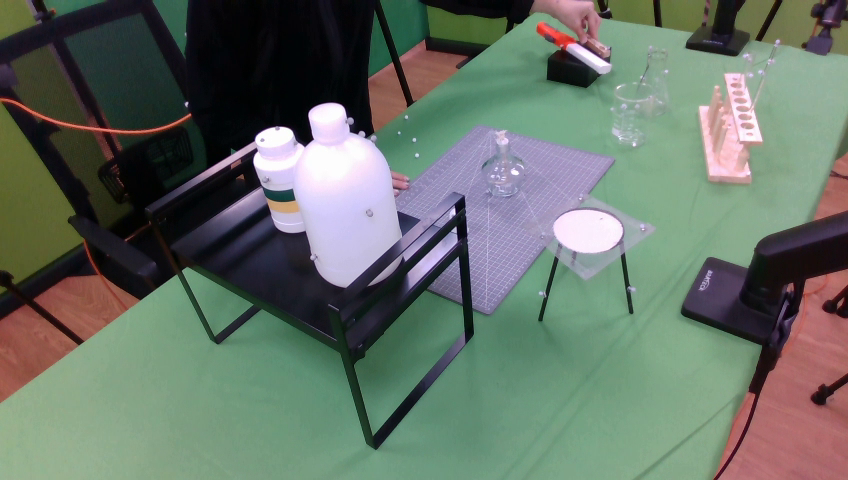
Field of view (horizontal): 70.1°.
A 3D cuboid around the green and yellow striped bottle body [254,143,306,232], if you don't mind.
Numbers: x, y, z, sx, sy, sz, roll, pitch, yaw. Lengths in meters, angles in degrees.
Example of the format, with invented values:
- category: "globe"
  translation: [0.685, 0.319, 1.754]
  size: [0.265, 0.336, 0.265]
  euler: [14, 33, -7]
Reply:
- category: "green and yellow striped bottle body"
  translation: [-0.165, -0.073, 0.732]
  size: [0.063, 0.120, 0.063]
  euler: [-4, 41, 4]

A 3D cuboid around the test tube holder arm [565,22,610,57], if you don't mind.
- category: "test tube holder arm"
  translation: [0.370, -0.457, 1.373]
  size: [0.013, 0.015, 0.177]
  euler: [-17, 44, -11]

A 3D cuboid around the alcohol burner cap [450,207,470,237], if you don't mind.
- category: "alcohol burner cap"
  translation: [0.057, -0.032, 0.987]
  size: [0.034, 0.048, 0.033]
  euler: [-5, 41, 5]

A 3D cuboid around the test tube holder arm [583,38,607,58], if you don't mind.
- category: "test tube holder arm"
  translation: [0.379, -0.428, 1.341]
  size: [0.010, 0.015, 0.087]
  euler: [-16, 44, -10]

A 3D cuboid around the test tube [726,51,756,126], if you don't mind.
- category: "test tube"
  translation: [0.568, -0.268, 1.086]
  size: [0.017, 0.151, 0.017]
  euler: [-4, 46, 4]

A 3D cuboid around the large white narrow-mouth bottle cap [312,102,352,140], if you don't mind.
- category: "large white narrow-mouth bottle cap"
  translation: [-0.088, -0.114, 0.578]
  size: [0.038, 0.024, 0.037]
  euler: [-3, 40, 3]

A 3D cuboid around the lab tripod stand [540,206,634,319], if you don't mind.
- category: "lab tripod stand"
  translation: [0.218, 0.034, 0.821]
  size: [0.148, 0.132, 0.147]
  euler: [-4, 42, 4]

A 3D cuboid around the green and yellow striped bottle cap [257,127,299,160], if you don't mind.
- category: "green and yellow striped bottle cap"
  translation: [-0.169, -0.112, 0.699]
  size: [0.045, 0.020, 0.045]
  euler: [-5, 40, 5]

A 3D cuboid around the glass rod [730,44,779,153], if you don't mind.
- category: "glass rod"
  translation: [0.555, -0.233, 1.020]
  size: [0.008, 0.200, 0.008]
  euler: [2, 39, -1]

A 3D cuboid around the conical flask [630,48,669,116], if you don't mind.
- category: "conical flask"
  translation: [0.457, -0.317, 1.205]
  size: [0.075, 0.122, 0.075]
  euler: [-4, 41, 4]

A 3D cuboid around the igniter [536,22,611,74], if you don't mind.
- category: "igniter"
  translation: [0.329, -0.438, 1.366]
  size: [0.057, 0.025, 0.274]
  euler: [-11, 41, -19]

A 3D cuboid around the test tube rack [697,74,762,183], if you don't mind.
- category: "test tube rack"
  translation: [0.547, -0.208, 1.095]
  size: [0.066, 0.085, 0.242]
  euler: [5, 42, 15]

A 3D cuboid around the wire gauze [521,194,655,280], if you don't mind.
- category: "wire gauze"
  translation: [0.207, -0.012, 0.772]
  size: [0.122, 0.011, 0.124]
  euler: [-28, 44, -20]

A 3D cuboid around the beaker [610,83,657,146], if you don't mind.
- category: "beaker"
  translation: [0.388, -0.235, 1.138]
  size: [0.074, 0.101, 0.083]
  euler: [-31, 46, -25]

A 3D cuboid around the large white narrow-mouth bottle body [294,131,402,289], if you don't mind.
- category: "large white narrow-mouth bottle body"
  translation: [-0.082, -0.047, 0.634]
  size: [0.102, 0.195, 0.101]
  euler: [-3, 40, 3]

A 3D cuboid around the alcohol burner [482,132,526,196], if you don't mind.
- category: "alcohol burner"
  translation: [0.137, -0.136, 1.042]
  size: [0.078, 0.119, 0.077]
  euler: [-4, 43, 4]
